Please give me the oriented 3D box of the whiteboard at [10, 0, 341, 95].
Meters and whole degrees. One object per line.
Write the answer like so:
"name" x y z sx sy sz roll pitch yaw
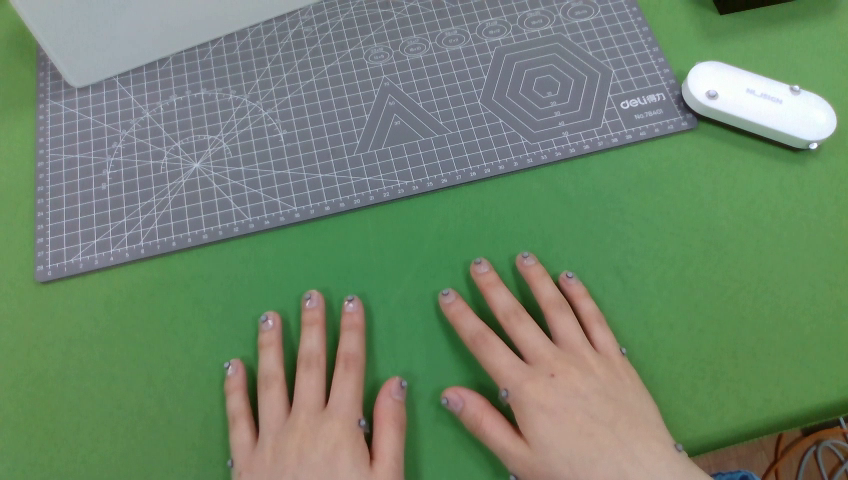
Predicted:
"whiteboard" -0.206 -0.292 0.388 0.217 0.308 0.142 -23 48 -7

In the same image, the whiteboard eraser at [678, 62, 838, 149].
"whiteboard eraser" 0.227 -0.092 0.413 0.101 0.019 0.041 22 69 10
